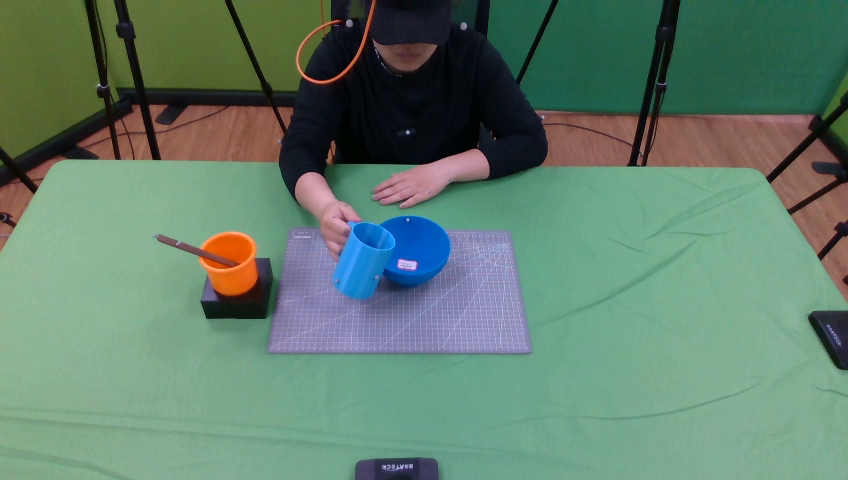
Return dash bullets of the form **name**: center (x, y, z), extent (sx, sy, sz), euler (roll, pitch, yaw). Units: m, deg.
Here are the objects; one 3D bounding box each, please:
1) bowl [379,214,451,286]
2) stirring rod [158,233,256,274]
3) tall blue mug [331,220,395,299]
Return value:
- **bowl**: center (-0.028, 0.031, 1.122), extent (0.151, 0.077, 0.150), euler (2, 46, -2)
- **stirring rod**: center (-0.354, 0.024, 1.000), extent (0.177, 0.006, 0.014), euler (26, 32, -41)
- **tall blue mug**: center (-0.115, 0.025, 1.011), extent (0.107, 0.108, 0.077), euler (33, 31, 11)
